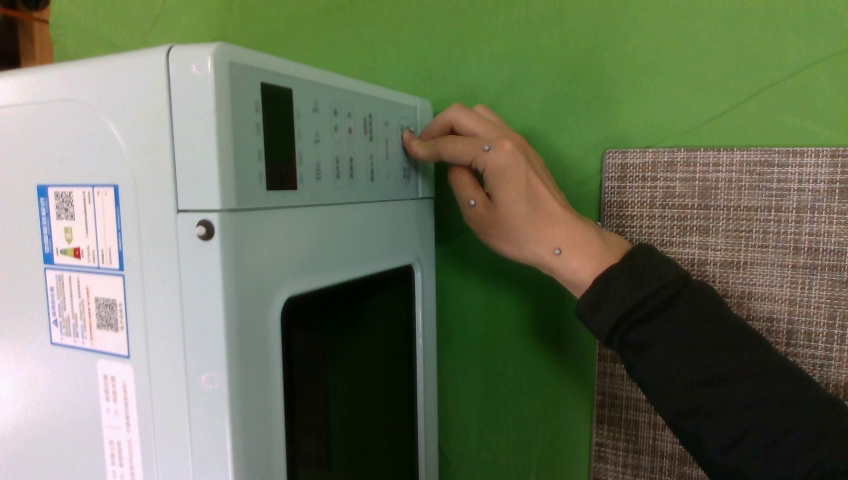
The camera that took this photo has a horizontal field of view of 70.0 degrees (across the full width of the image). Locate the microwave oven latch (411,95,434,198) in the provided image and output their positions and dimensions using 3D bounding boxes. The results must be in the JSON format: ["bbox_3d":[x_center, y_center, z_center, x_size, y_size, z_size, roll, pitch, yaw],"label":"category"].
[{"bbox_3d":[-0.009,-0.073,0.479,0.030,0.029,0.079,1,97,25],"label":"microwave oven latch"}]

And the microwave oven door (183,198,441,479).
[{"bbox_3d":[-0.053,0.153,0.414,0.039,0.244,0.356,1,96,26],"label":"microwave oven door"}]

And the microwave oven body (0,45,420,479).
[{"bbox_3d":[-0.183,0.107,0.476,0.324,0.261,0.442,2,97,25],"label":"microwave oven body"}]
